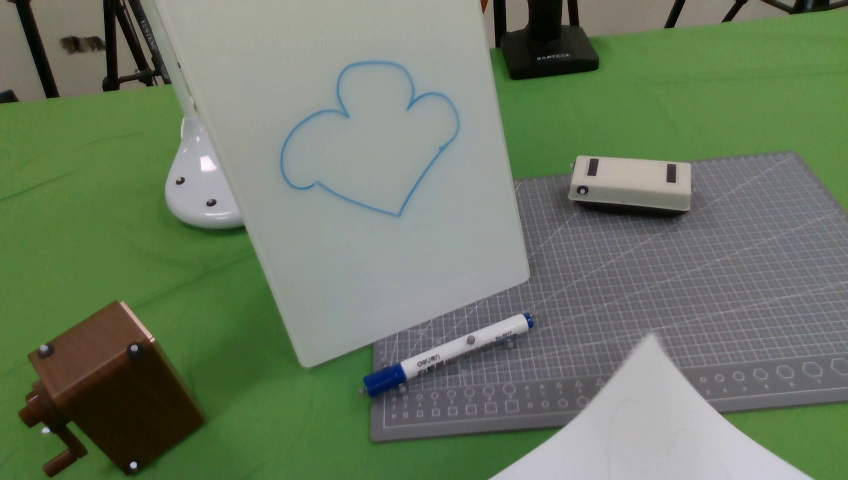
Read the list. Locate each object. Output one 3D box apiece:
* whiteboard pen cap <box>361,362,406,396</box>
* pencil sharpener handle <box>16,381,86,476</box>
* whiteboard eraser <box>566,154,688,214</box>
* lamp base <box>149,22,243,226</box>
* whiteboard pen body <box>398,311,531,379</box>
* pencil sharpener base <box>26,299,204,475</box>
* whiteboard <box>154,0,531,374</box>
[{"bbox_3d":[-0.031,0.109,0.474,0.033,0.018,0.018,-21,45,-12],"label":"whiteboard pen cap"},{"bbox_3d":[-0.257,0.129,0.407,0.030,0.068,0.035,-37,38,-27],"label":"pencil sharpener handle"},{"bbox_3d":[0.201,-0.056,0.601,0.112,0.042,0.055,7,46,15],"label":"whiteboard eraser"},{"bbox_3d":[-0.231,-0.131,0.644,0.177,0.182,0.160,25,52,33],"label":"lamp base"},{"bbox_3d":[0.022,0.088,0.486,0.141,0.017,0.017,-20,44,-12],"label":"whiteboard pen body"},{"bbox_3d":[-0.222,0.110,0.441,0.076,0.108,0.061,-37,51,-27],"label":"pencil sharpener base"},{"bbox_3d":[-0.058,-0.083,0.520,0.217,0.308,0.142,-20,25,-12],"label":"whiteboard"}]
